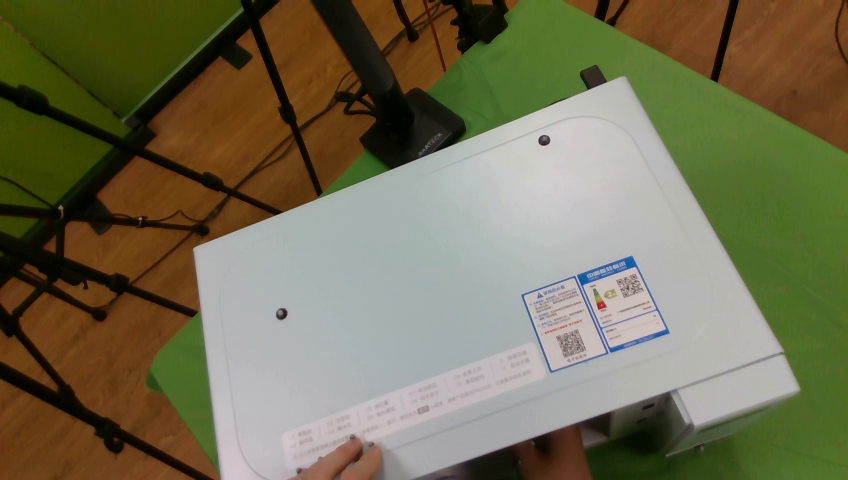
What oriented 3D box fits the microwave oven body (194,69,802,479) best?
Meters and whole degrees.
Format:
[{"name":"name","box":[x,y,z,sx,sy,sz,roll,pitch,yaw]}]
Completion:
[{"name":"microwave oven body","box":[0.048,0.087,0.613,0.441,0.262,0.323,-22,63,6]}]

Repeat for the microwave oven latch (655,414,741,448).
[{"name":"microwave oven latch","box":[0.278,0.185,0.614,0.079,0.030,0.030,-20,63,7]}]

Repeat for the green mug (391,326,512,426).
[{"name":"green mug","box":[0.033,0.146,0.612,0.124,0.106,0.092,28,78,26]}]
